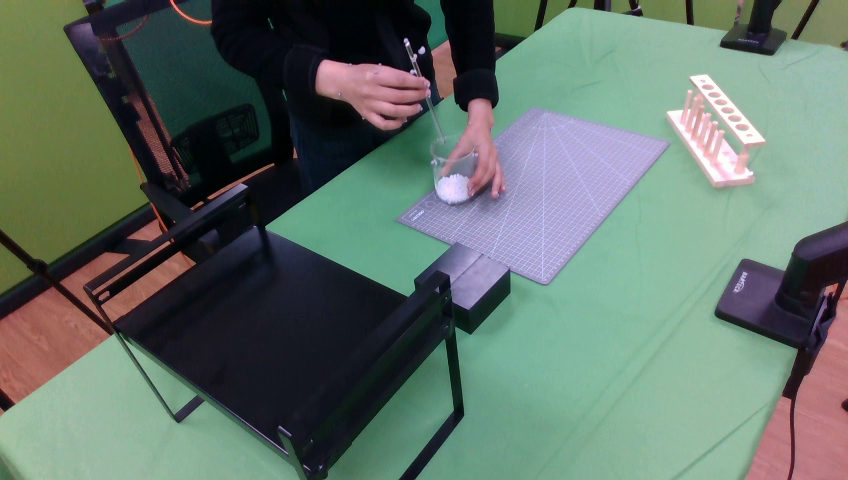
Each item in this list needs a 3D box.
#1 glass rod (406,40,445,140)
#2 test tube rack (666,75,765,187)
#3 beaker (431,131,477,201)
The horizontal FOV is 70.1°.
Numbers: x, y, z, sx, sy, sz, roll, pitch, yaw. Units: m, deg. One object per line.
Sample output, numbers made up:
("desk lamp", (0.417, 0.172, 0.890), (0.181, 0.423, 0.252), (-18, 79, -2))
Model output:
("glass rod", (0.005, -0.222, 0.918), (0.008, 0.201, 0.008), (-9, 54, 13))
("test tube rack", (0.512, -0.201, 1.082), (0.067, 0.085, 0.241), (-5, 41, 2))
("beaker", (0.051, -0.125, 1.030), (0.074, 0.101, 0.083), (-21, 46, -15))
